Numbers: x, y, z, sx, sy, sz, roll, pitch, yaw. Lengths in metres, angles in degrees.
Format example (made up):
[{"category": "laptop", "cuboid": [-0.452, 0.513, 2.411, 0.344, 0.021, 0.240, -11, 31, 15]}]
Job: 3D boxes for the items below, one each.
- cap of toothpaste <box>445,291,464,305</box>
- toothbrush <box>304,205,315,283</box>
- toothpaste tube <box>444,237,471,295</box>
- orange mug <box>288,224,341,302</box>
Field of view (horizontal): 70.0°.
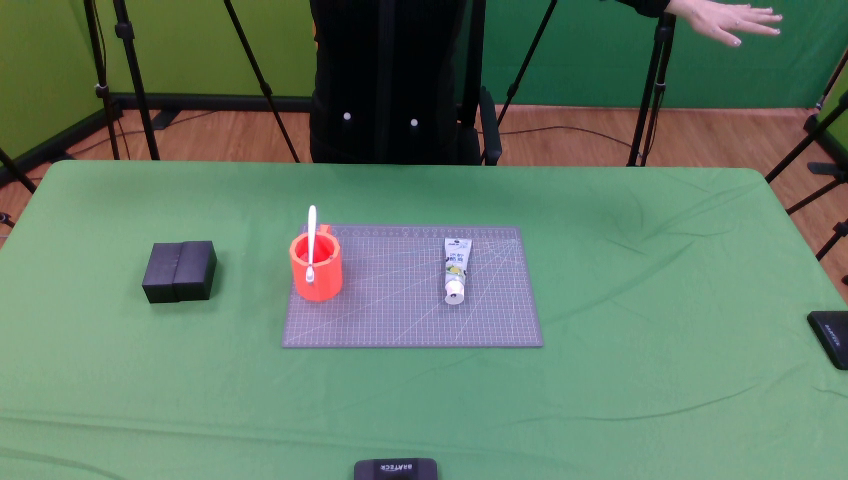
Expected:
[{"category": "cap of toothpaste", "cuboid": [0.054, 0.103, 1.088, 0.037, 0.037, 0.011, -4, 48, -7]}, {"category": "toothbrush", "cuboid": [-0.199, 0.001, 1.052, 0.014, 0.017, 0.180, -5, 46, -4]}, {"category": "toothpaste tube", "cuboid": [0.062, 0.049, 1.149, 0.055, 0.034, 0.164, 9, 42, -3]}, {"category": "orange mug", "cuboid": [-0.192, 0.034, 1.094, 0.083, 0.101, 0.125, 7, 50, 2]}]
